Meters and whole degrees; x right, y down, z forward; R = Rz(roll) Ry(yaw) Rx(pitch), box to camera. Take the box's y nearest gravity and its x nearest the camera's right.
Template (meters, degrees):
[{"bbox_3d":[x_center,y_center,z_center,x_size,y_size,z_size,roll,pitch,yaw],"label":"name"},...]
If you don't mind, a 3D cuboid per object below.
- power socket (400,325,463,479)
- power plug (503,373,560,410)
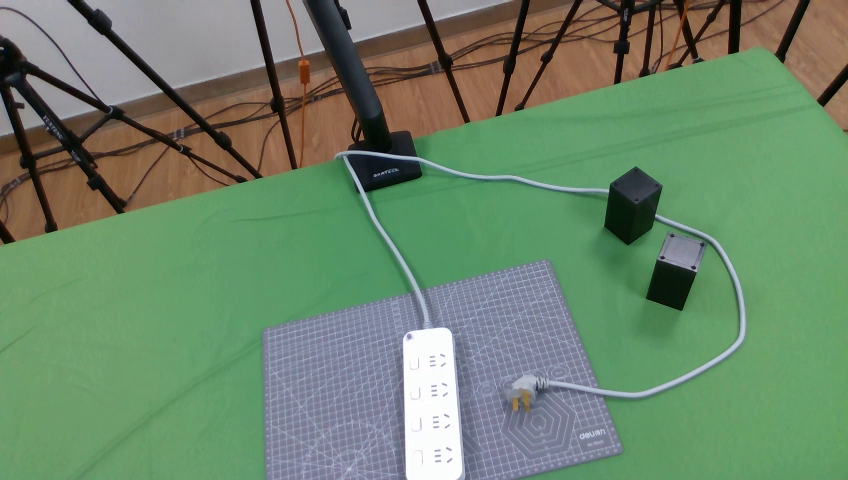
[{"bbox_3d":[0.007,0.213,0.797,0.072,0.033,0.224,-7,54,4],"label":"power socket"},{"bbox_3d":[0.138,0.194,0.781,0.072,0.035,0.052,-12,34,15],"label":"power plug"}]
